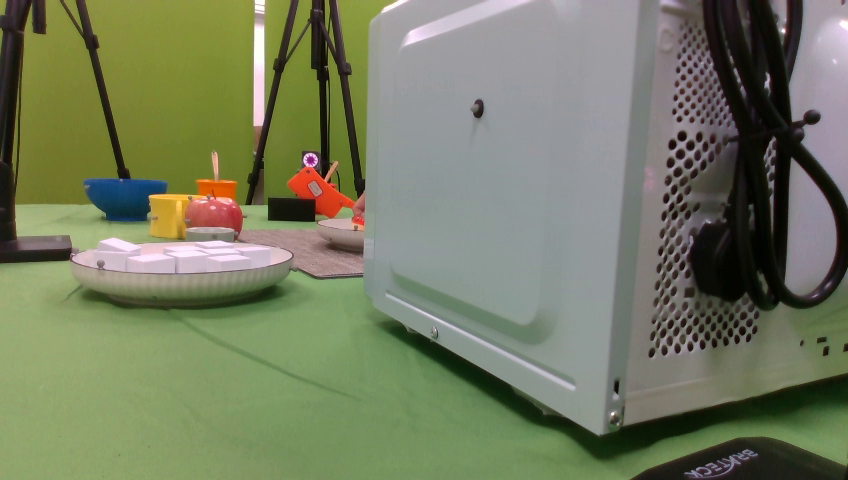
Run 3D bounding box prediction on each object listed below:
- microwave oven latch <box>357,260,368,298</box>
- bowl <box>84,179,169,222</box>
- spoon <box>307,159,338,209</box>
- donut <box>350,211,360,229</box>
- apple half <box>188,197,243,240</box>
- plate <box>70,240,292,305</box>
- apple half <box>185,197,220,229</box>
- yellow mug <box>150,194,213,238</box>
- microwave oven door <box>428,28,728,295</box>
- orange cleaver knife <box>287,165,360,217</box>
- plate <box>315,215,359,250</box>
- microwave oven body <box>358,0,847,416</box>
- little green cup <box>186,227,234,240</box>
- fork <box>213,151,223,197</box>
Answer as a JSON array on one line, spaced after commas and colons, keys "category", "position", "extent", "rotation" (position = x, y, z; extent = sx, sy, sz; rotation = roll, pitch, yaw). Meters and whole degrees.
[{"category": "microwave oven latch", "position": [-0.019, 0.033, 0.529], "extent": [0.079, 0.029, 0.030], "rotation": [0, 7, -25]}, {"category": "bowl", "position": [-0.584, -0.078, 1.194], "extent": [0.151, 0.077, 0.151], "rotation": [3, 8, 0]}, {"category": "spoon", "position": [-0.257, -0.147, 1.567], "extent": [0.041, 0.022, 0.193], "rotation": [2, 51, 19]}, {"category": "donut", "position": [-0.069, -0.022, 0.963], "extent": [0.099, 0.048, 0.099], "rotation": [4, 6, 0]}, {"category": "apple half", "position": [-0.305, -0.026, 0.907], "extent": [0.053, 0.074, 0.081], "rotation": [12, 8, 32]}, {"category": "plate", "position": [-0.242, 0.031, 0.618], "extent": [0.208, 0.039, 0.207], "rotation": [2, 8, 0]}, {"category": "apple half", "position": [-0.338, -0.031, 0.927], "extent": [0.032, 0.081, 0.081], "rotation": [12, 12, 31]}, {"category": "yellow mug", "position": [-0.401, -0.040, 1.003], "extent": [0.100, 0.064, 0.130], "rotation": [-1, 8, -20]}, {"category": "microwave oven door", "position": [0.176, -0.074, 0.630], "extent": [0.357, 0.243, 0.039], "rotation": [-1, 8, -25]}, {"category": "orange cleaver knife", "position": [-0.211, -0.092, 1.382], "extent": [0.212, 0.077, 0.012], "rotation": [34, 1, -15]}, {"category": "plate", "position": [-0.068, -0.011, 0.963], "extent": [0.209, 0.038, 0.209], "rotation": [3, 8, 0]}, {"category": "microwave oven body", "position": [0.211, -0.047, 0.474], "extent": [0.444, 0.260, 0.324], "rotation": [-1, 7, -28]}, {"category": "little green cup", "position": [-0.284, 0.005, 0.805], "extent": [0.061, 0.038, 0.061], "rotation": [2, 8, 0]}, {"category": "fork", "position": [-0.494, -0.143, 1.442], "extent": [0.028, 0.018, 0.206], "rotation": [-2, 52, -20]}]
